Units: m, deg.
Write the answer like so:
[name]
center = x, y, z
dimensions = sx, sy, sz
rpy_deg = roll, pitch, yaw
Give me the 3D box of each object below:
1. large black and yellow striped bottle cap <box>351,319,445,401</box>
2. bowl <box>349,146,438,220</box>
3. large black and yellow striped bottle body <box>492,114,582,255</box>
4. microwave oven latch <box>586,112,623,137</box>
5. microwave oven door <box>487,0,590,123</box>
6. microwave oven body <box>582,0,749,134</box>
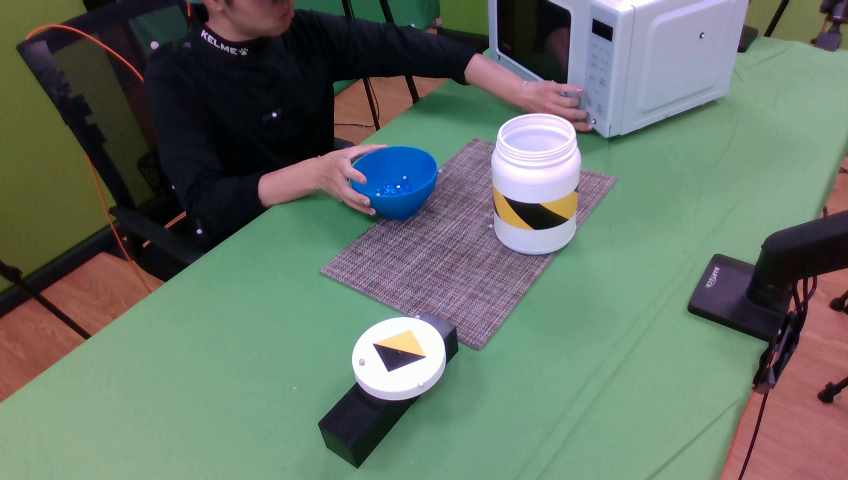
[large black and yellow striped bottle cap]
center = -0.031, 0.143, 0.735
dimensions = 0.115, 0.019, 0.114
rpy_deg = -3, 40, 3
[bowl]
center = -0.048, -0.088, 1.031
dimensions = 0.151, 0.077, 0.150
rpy_deg = -4, 41, 4
[large black and yellow striped bottle body]
center = 0.169, -0.084, 0.913
dimensions = 0.131, 0.185, 0.130
rpy_deg = -4, 41, 4
[microwave oven latch]
center = 0.339, -0.222, 1.142
dimensions = 0.030, 0.029, 0.078
rpy_deg = -18, 41, -11
[microwave oven door]
center = 0.231, -0.420, 1.231
dimensions = 0.039, 0.245, 0.352
rpy_deg = -22, 43, -16
[microwave oven body]
center = 0.382, -0.444, 1.246
dimensions = 0.327, 0.261, 0.437
rpy_deg = -22, 42, -16
